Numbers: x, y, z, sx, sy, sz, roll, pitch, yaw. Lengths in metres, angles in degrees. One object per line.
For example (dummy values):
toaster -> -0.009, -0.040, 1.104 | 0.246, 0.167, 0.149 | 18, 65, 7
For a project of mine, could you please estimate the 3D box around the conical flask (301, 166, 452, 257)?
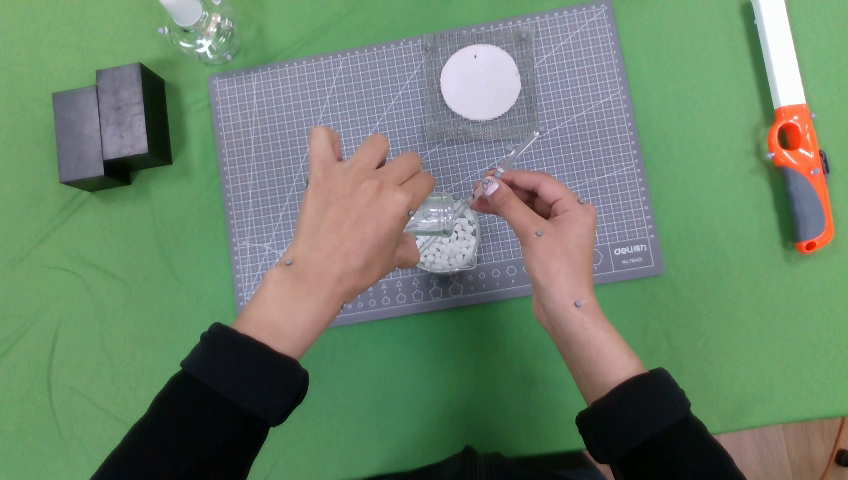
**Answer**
conical flask -> -0.039, -0.023, 0.505 | 0.122, 0.075, 0.075 | 0, 84, -8

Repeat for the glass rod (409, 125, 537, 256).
glass rod -> 0.034, -0.035, 0.515 | 0.008, 0.200, 0.008 | 16, 54, -23

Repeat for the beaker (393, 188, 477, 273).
beaker -> 0.018, -0.003, 0.594 | 0.084, 0.100, 0.074 | 44, 90, 7

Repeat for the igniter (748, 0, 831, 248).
igniter -> 0.369, -0.129, 0.616 | 0.057, 0.025, 0.275 | -7, 84, -5

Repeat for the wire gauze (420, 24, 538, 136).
wire gauze -> 0.058, -0.171, 0.652 | 0.125, 0.011, 0.121 | -2, 84, 2

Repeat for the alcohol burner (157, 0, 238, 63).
alcohol burner -> -0.243, -0.232, 0.632 | 0.078, 0.119, 0.077 | 0, 85, 6

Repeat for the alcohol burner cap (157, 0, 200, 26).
alcohol burner cap -> -0.247, -0.239, 0.597 | 0.034, 0.048, 0.033 | -1, 78, 5
